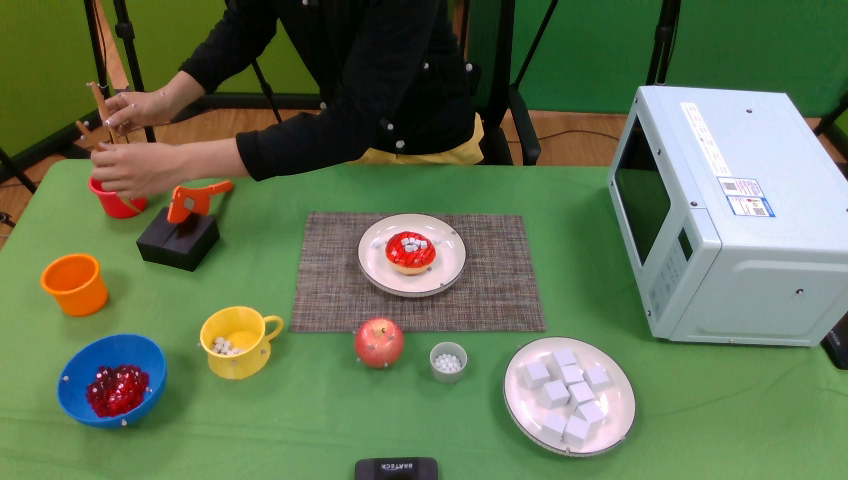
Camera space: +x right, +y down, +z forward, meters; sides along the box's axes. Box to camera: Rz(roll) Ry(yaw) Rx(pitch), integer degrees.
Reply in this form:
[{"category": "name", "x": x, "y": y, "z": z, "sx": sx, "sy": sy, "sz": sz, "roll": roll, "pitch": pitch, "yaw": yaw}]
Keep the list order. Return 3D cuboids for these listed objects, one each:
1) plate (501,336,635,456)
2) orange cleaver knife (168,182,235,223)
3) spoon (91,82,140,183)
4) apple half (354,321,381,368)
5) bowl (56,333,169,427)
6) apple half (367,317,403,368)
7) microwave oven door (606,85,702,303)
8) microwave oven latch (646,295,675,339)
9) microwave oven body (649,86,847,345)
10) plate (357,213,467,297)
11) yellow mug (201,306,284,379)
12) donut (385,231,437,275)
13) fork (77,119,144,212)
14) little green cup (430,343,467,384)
[{"category": "plate", "x": 0.225, "y": 0.249, "z": 0.964, "sx": 0.208, "sy": 0.039, "sz": 0.206, "roll": 2, "pitch": 46, "yaw": -2}, {"category": "orange cleaver knife", "x": -0.436, "y": -0.077, "z": 1.196, "sx": 0.012, "sy": 0.077, "sz": 0.211, "roll": 17, "pitch": 15, "yaw": 9}, {"category": "spoon", "x": -0.583, "y": -0.200, "z": 1.142, "sx": 0.041, "sy": 0.194, "sz": 0.021, "roll": -29, "pitch": 31, "yaw": -37}, {"category": "apple half", "x": -0.097, "y": 0.176, "z": 0.985, "sx": 0.033, "sy": 0.081, "sz": 0.080, "roll": -12, "pitch": 48, "yaw": -20}, {"category": "bowl", "x": -0.456, "y": 0.223, "z": 0.912, "sx": 0.151, "sy": 0.077, "sz": 0.150, "roll": 3, "pitch": 45, "yaw": -3}, {"category": "apple half", "x": -0.062, "y": 0.167, "z": 0.998, "sx": 0.053, "sy": 0.075, "sz": 0.080, "roll": -11, "pitch": 44, "yaw": -21}, {"category": "microwave oven door", "x": 0.423, "y": -0.094, "z": 1.140, "sx": 0.039, "sy": 0.245, "sz": 0.353, "roll": 2, "pitch": 46, "yaw": -1}, {"category": "microwave oven latch", "x": 0.412, "y": 0.134, "z": 1.061, "sx": 0.030, "sy": 0.029, "sz": 0.078, "roll": 4, "pitch": 45, "yaw": 1}, {"category": "microwave oven body", "x": 0.568, "y": -0.053, "z": 1.118, "sx": 0.326, "sy": 0.261, "sz": 0.439, "roll": 2, "pitch": 45, "yaw": -1}, {"category": "plate", "x": -0.023, "y": 0.032, "z": 1.150, "sx": 0.209, "sy": 0.038, "sz": 0.208, "roll": 2, "pitch": 46, "yaw": -2}, {"category": "yellow mug", "x": -0.291, "y": 0.160, "z": 0.993, "sx": 0.131, "sy": 0.064, "sz": 0.099, "roll": -23, "pitch": 51, "yaw": -25}, {"category": "donut", "x": -0.025, "y": 0.024, "z": 1.142, "sx": 0.099, "sy": 0.048, "sz": 0.098, "roll": 4, "pitch": 44, "yaw": -3}, {"category": "fork", "x": -0.493, "y": -0.111, "z": 0.959, "sx": 0.028, "sy": 0.208, "sz": 0.018, "roll": 30, "pitch": 58, "yaw": 24}, {"category": "little green cup", "x": 0.039, "y": 0.203, "z": 0.994, "sx": 0.061, "sy": 0.039, "sz": 0.061, "roll": 2, "pitch": 46, "yaw": -2}]
